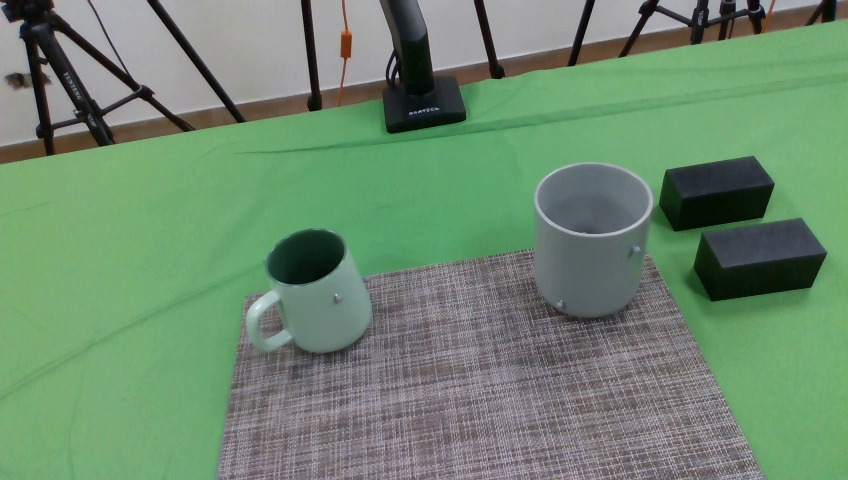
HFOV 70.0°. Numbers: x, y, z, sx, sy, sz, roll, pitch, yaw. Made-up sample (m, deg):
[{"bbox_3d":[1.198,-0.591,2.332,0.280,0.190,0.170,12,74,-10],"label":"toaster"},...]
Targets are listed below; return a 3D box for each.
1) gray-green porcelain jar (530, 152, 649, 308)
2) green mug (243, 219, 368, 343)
[{"bbox_3d":[0.157,-0.005,0.591,0.106,0.128,0.105,-5,45,6],"label":"gray-green porcelain jar"},{"bbox_3d":[-0.120,0.052,0.600,0.125,0.106,0.091,-39,52,-25],"label":"green mug"}]
